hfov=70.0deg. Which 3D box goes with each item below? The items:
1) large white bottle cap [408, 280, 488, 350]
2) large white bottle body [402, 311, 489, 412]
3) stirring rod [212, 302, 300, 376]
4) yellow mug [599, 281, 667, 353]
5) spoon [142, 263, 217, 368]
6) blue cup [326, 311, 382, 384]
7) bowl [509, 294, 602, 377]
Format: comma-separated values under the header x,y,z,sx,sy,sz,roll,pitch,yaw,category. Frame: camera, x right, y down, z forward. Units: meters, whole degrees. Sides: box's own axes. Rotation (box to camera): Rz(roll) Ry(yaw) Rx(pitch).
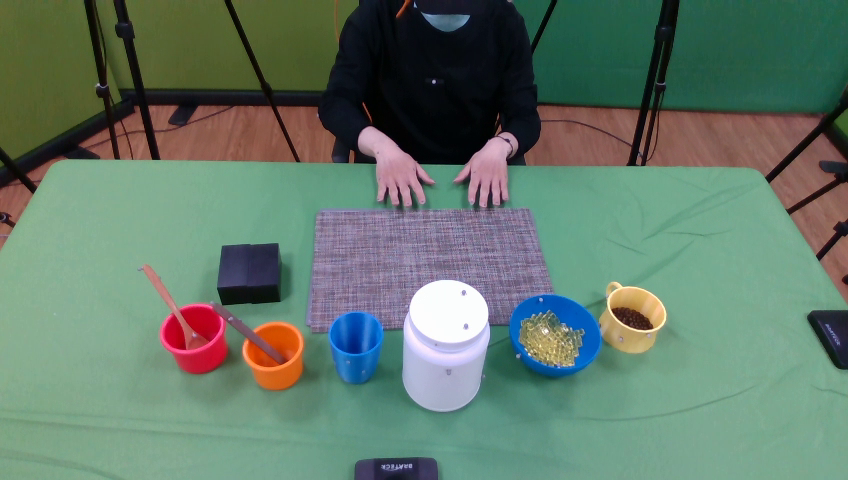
x,y,z,sx,sy,sz,roll,pitch,yaw,category
0.034,0.105,0.866,0.115,0.018,0.114,2,46,-1,large white bottle cap
0.031,0.163,0.928,0.131,0.185,0.130,2,46,-2,large white bottle body
-0.261,0.156,0.948,0.177,0.006,0.014,45,45,-20,stirring rod
0.359,0.127,1.069,0.100,0.064,0.130,-12,47,-14,yellow mug
-0.392,0.120,0.968,0.041,0.021,0.194,-33,100,-30,spoon
-0.110,0.178,0.963,0.093,0.101,0.092,3,45,-3,blue cup
0.211,0.171,1.007,0.151,0.077,0.150,2,46,-2,bowl
